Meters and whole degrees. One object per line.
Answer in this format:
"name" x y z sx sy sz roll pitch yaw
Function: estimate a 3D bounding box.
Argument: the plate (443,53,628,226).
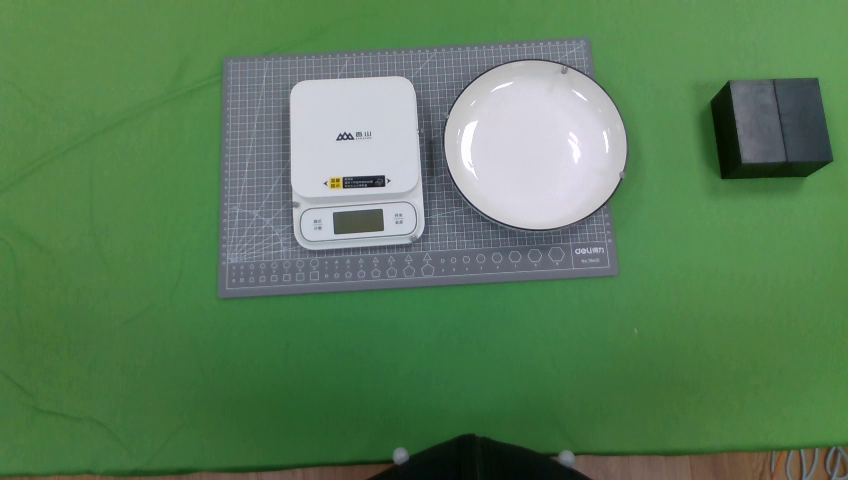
"plate" 0.126 -0.112 0.694 0.209 0.038 0.208 0 77 1

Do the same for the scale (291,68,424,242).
"scale" -0.078 -0.100 0.698 0.149 0.032 0.200 -3 78 0
